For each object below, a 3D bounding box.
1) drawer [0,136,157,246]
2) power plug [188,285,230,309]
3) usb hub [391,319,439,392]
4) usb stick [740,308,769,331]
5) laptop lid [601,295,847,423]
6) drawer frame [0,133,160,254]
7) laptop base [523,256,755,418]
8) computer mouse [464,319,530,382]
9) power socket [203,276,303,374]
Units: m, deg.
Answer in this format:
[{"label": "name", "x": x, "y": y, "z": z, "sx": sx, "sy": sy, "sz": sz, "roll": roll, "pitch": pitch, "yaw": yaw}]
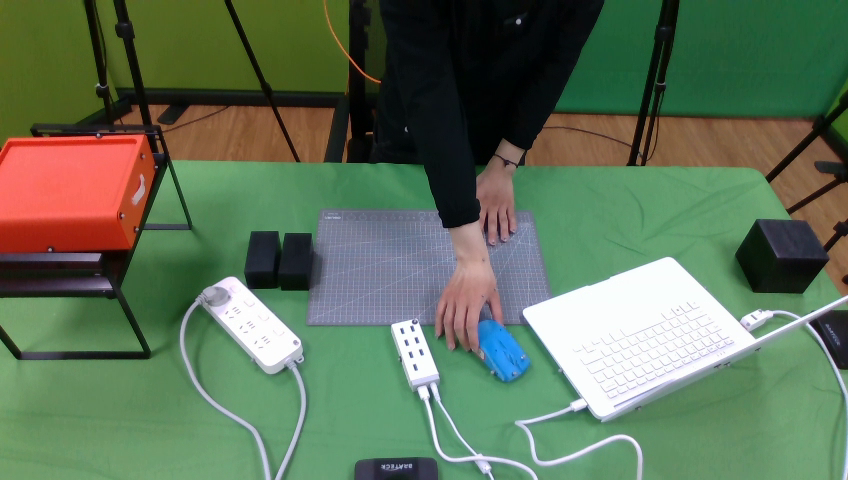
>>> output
[{"label": "drawer", "x": -0.545, "y": -0.077, "z": 0.940, "sx": 0.212, "sy": 0.073, "sz": 0.193, "roll": -2, "pitch": 47, "yaw": -7}, {"label": "power plug", "x": -0.369, "y": 0.103, "z": 1.039, "sx": 0.072, "sy": 0.053, "sz": 0.035, "roll": -26, "pitch": 53, "yaw": -23}, {"label": "usb hub", "x": -0.016, "y": 0.190, "z": 1.013, "sx": 0.049, "sy": 0.025, "sz": 0.124, "roll": -11, "pitch": 48, "yaw": -15}, {"label": "usb stick", "x": 0.587, "y": 0.146, "z": 1.088, "sx": 0.059, "sy": 0.027, "sz": 0.021, "roll": -21, "pitch": 48, "yaw": -17}, {"label": "laptop lid", "x": 0.449, "y": 0.179, "z": 0.905, "sx": 0.357, "sy": 0.242, "sz": 0.013, "roll": -17, "pitch": 64, "yaw": -20}, {"label": "drawer frame", "x": -0.547, "y": -0.075, "z": 0.939, "sx": 0.214, "sy": 0.083, "sz": 0.200, "roll": -3, "pitch": 47, "yaw": -6}, {"label": "laptop base", "x": 0.381, "y": 0.159, "z": 1.077, "sx": 0.355, "sy": 0.023, "sz": 0.234, "roll": -17, "pitch": 47, "yaw": -19}, {"label": "computer mouse", "x": 0.124, "y": 0.182, "z": 1.023, "sx": 0.063, "sy": 0.041, "sz": 0.116, "roll": -27, "pitch": 58, "yaw": -29}, {"label": "power socket", "x": -0.296, "y": 0.141, "z": 1.034, "sx": 0.072, "sy": 0.033, "sz": 0.225, "roll": -35, "pitch": 58, "yaw": -31}]
